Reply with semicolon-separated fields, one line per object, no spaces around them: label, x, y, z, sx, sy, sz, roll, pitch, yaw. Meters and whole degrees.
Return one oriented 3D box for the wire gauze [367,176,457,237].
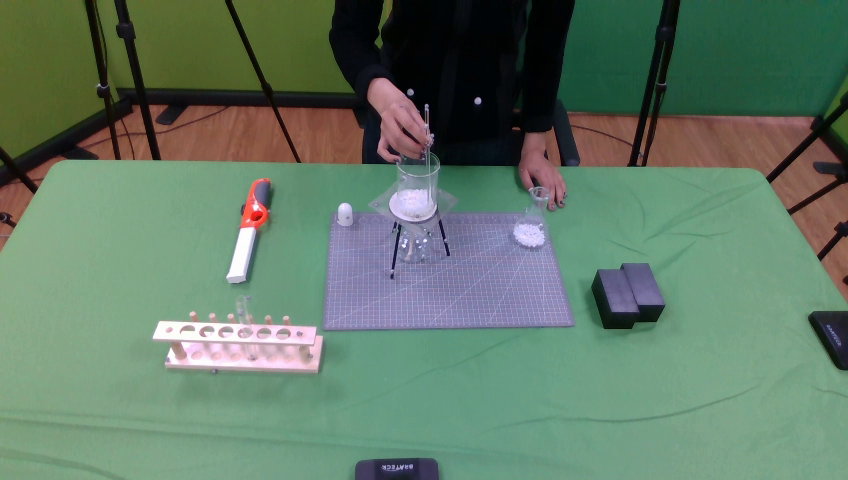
wire gauze;-0.020;-0.066;1.089;0.124;0.011;0.121;27;47;22

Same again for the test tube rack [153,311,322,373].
test tube rack;-0.293;0.160;0.978;0.242;0.085;0.066;3;46;-2

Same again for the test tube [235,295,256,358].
test tube;-0.274;0.136;0.933;0.017;0.151;0.017;4;46;-4

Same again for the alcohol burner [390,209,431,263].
alcohol burner;-0.024;-0.014;1.145;0.078;0.119;0.077;4;44;-3

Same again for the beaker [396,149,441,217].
beaker;-0.015;-0.098;1.053;0.074;0.101;0.083;-31;55;-31

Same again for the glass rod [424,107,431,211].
glass rod;0.006;-0.128;1.001;0.008;0.201;0.008;-1;40;1

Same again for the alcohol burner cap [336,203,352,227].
alcohol burner cap;-0.162;-0.053;1.221;0.034;0.048;0.033;2;46;-2

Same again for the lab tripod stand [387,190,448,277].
lab tripod stand;-0.021;-0.018;1.135;0.148;0.132;0.147;3;44;-3

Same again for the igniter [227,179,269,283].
igniter;-0.345;-0.027;1.195;0.057;0.025;0.274;-6;46;5

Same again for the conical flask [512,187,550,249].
conical flask;0.217;-0.047;1.190;0.075;0.122;0.075;2;46;-2
